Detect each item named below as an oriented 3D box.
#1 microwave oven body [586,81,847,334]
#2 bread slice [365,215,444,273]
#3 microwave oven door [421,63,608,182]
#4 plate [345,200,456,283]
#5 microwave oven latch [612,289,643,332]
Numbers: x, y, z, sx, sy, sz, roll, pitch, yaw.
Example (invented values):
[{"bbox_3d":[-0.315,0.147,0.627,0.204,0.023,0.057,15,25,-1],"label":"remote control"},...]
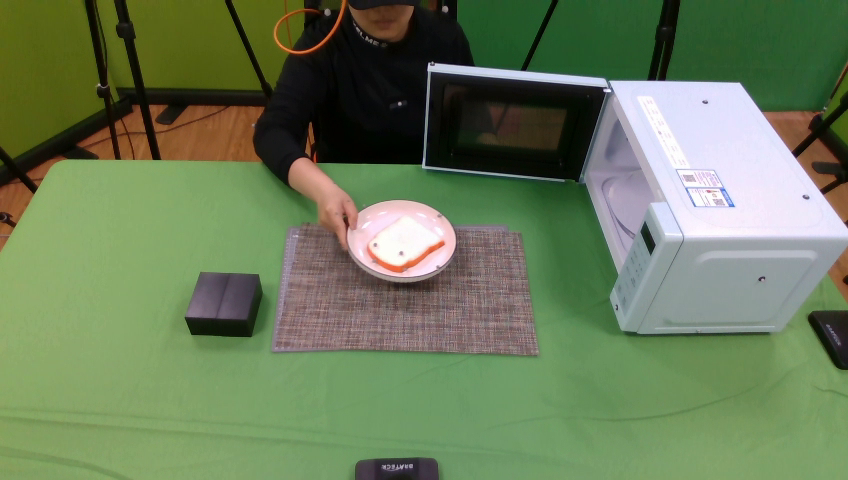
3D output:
[{"bbox_3d":[0.501,-0.070,1.132,0.326,0.261,0.438,-1,45,-3],"label":"microwave oven body"},{"bbox_3d":[-0.041,0.009,1.138,0.104,0.019,0.131,35,49,25],"label":"bread slice"},{"bbox_3d":[0.178,-0.241,1.268,0.356,0.245,0.039,5,46,1],"label":"microwave oven door"},{"bbox_3d":[-0.044,0.005,1.138,0.209,0.038,0.208,4,45,-4],"label":"plate"},{"bbox_3d":[0.357,0.124,1.068,0.030,0.029,0.078,0,45,-3],"label":"microwave oven latch"}]
